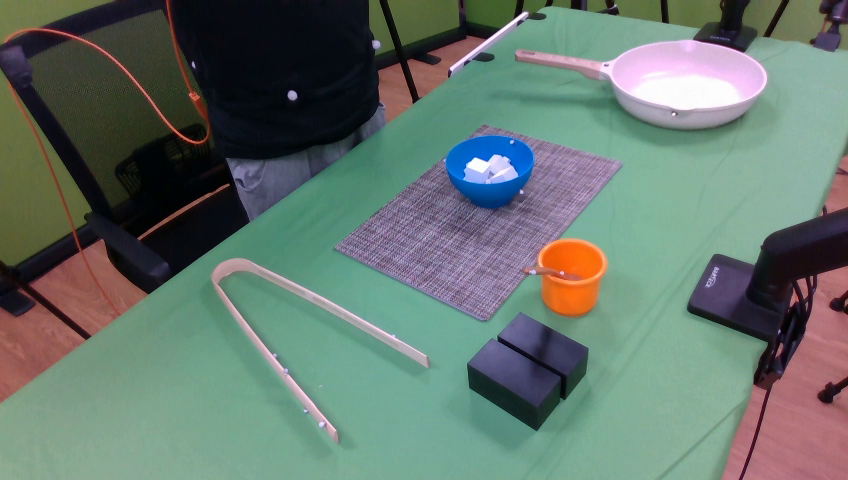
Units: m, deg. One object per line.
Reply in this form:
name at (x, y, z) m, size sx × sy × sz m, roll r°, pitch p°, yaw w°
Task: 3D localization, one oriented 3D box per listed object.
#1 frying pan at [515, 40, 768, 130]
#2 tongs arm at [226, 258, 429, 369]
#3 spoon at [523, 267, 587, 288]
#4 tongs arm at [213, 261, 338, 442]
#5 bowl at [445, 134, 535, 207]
frying pan at (0.423, -0.337, 1.236) m, size 0.486 × 0.103 × 0.307 m, roll 16°, pitch 44°, yaw 13°
tongs arm at (-0.150, 0.098, 0.873) m, size 0.384 × 0.028 × 0.028 m, roll 22°, pitch 50°, yaw 30°
spoon at (0.170, 0.046, 0.793) m, size 0.041 × 0.195 × 0.021 m, roll 20°, pitch 92°, yaw 33°
tongs arm at (-0.208, 0.136, 0.830) m, size 0.051 × 0.026 × 0.381 m, roll -31°, pitch 45°, yaw -28°
bowl at (0.113, -0.109, 1.029) m, size 0.151 × 0.077 × 0.150 m, roll -4°, pitch 41°, yaw 4°
